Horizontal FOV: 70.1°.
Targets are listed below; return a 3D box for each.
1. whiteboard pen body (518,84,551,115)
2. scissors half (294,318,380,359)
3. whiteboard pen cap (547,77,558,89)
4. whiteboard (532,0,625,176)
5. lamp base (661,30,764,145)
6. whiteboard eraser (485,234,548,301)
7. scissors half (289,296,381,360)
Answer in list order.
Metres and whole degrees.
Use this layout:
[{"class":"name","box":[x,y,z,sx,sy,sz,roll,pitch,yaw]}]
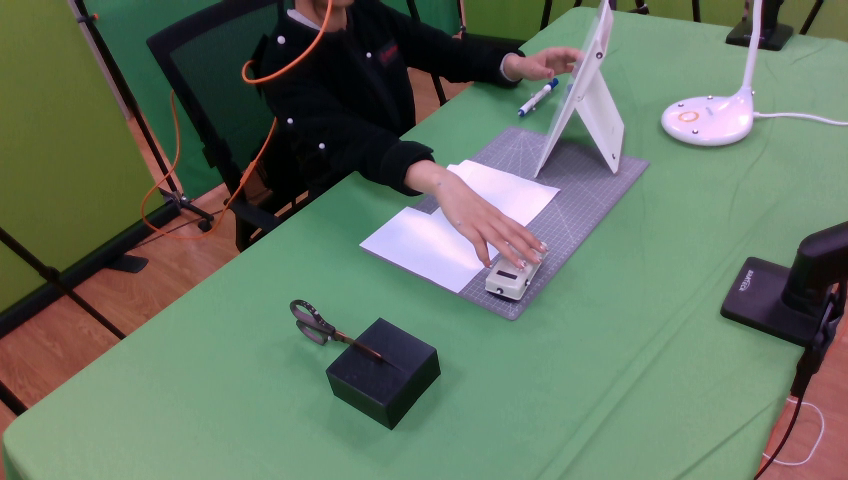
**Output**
[{"class":"whiteboard pen body","box":[0.242,-0.306,1.291,0.017,0.017,0.141,23,51,32]},{"class":"scissors half","box":[-0.117,0.135,0.809,0.173,0.040,0.013,9,38,44]},{"class":"whiteboard pen cap","box":[0.279,-0.341,1.321,0.018,0.018,0.033,22,51,31]},{"class":"whiteboard","box":[0.320,-0.259,1.050,0.144,0.306,0.217,21,45,5]},{"class":"lamp base","box":[0.535,-0.287,1.096,0.179,0.181,0.159,-10,40,-4]},{"class":"whiteboard eraser","box":[0.137,0.041,0.887,0.055,0.042,0.113,15,46,27]},{"class":"scissors half","box":[-0.120,0.117,0.798,0.174,0.040,0.013,27,43,31]}]
